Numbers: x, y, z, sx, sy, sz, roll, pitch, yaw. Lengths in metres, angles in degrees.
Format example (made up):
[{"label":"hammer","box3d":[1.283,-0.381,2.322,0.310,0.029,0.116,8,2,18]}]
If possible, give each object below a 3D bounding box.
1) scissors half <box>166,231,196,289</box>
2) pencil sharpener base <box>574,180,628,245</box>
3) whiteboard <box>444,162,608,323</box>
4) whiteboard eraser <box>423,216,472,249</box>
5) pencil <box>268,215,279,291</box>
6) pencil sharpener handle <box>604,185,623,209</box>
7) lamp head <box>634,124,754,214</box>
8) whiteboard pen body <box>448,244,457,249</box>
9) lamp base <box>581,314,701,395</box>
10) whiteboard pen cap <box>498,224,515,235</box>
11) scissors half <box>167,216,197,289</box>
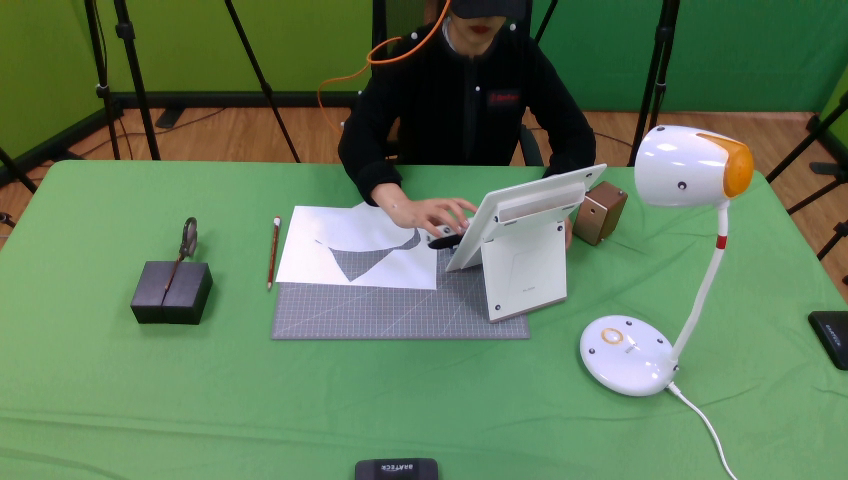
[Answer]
[{"label":"scissors half","box3d":[-0.441,0.036,1.098,0.013,0.040,0.174,12,28,-10]},{"label":"pencil sharpener base","box3d":[0.356,-0.056,1.217,0.076,0.107,0.061,-33,56,-31]},{"label":"whiteboard","box3d":[0.186,0.025,1.029,0.217,0.306,0.143,-14,68,-18]},{"label":"whiteboard eraser","box3d":[0.058,-0.015,1.067,0.113,0.055,0.041,-16,83,-15]},{"label":"pencil","box3d":[-0.291,0.023,1.164,0.012,0.012,0.192,-2,48,-6]},{"label":"pencil sharpener handle","box3d":[0.390,-0.091,1.235,0.030,0.068,0.036,-34,69,-31]},{"label":"lamp head","box3d":[0.351,-0.089,0.775,0.112,0.113,0.122,-30,30,-28]},{"label":"whiteboard pen body","box3d":[0.112,-0.005,1.204,0.141,0.017,0.017,-14,49,-18]},{"label":"lamp base","box3d":[0.361,0.145,0.973,0.178,0.181,0.160,34,53,23]},{"label":"whiteboard pen cap","box3d":[0.166,-0.019,1.222,0.033,0.018,0.018,-16,49,-18]},{"label":"scissors half","box3d":[-0.436,0.020,1.086,0.013,0.040,0.174,7,47,-8]}]
